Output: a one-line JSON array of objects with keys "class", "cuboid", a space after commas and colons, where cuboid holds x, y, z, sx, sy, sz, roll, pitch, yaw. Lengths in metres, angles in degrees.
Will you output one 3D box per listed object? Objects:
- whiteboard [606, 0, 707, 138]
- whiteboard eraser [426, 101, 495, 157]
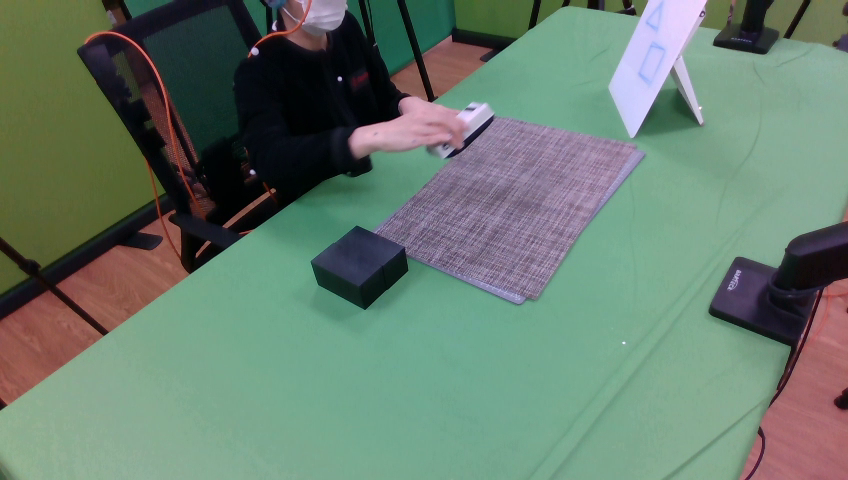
[{"class": "whiteboard", "cuboid": [0.496, -0.359, 1.147, 0.144, 0.305, 0.216, 11, 40, -7]}, {"class": "whiteboard eraser", "cuboid": [0.061, -0.173, 0.961, 0.113, 0.042, 0.055, -42, 30, -11]}]
